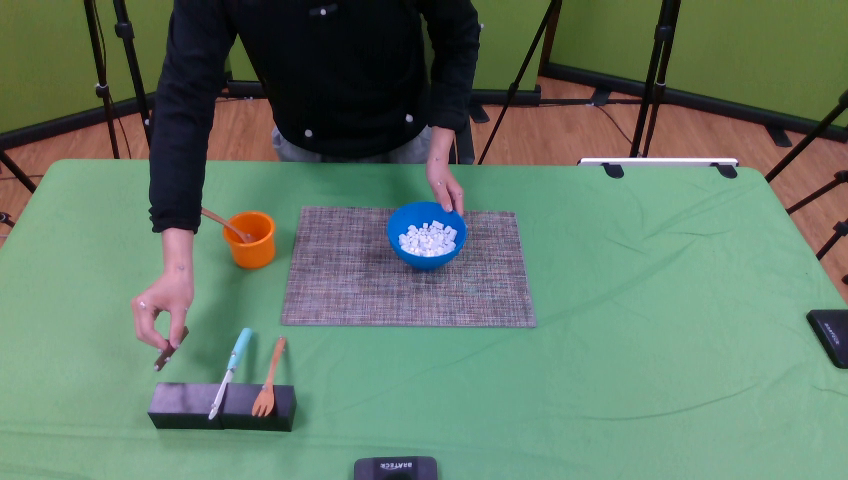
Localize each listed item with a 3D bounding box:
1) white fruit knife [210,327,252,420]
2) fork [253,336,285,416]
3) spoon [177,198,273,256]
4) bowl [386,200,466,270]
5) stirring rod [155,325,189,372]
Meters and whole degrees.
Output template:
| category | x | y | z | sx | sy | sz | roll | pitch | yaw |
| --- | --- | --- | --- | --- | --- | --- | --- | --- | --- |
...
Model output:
| category | x | y | z | sx | sy | sz | roll | pitch | yaw |
| --- | --- | --- | --- | --- | --- | --- | --- | --- | --- |
| white fruit knife | -0.298 | 0.200 | 0.937 | 0.016 | 0.027 | 0.206 | 0 | 30 | 0 |
| fork | -0.235 | 0.206 | 0.938 | 0.028 | 0.019 | 0.206 | -3 | 26 | -3 |
| spoon | -0.361 | -0.025 | 1.107 | 0.021 | 0.195 | 0.041 | -31 | 37 | 29 |
| bowl | 0.001 | 0.003 | 1.150 | 0.151 | 0.077 | 0.150 | 2 | 46 | -2 |
| stirring rod | -0.378 | 0.160 | 0.913 | 0.006 | 0.014 | 0.175 | -23 | 13 | -4 |
